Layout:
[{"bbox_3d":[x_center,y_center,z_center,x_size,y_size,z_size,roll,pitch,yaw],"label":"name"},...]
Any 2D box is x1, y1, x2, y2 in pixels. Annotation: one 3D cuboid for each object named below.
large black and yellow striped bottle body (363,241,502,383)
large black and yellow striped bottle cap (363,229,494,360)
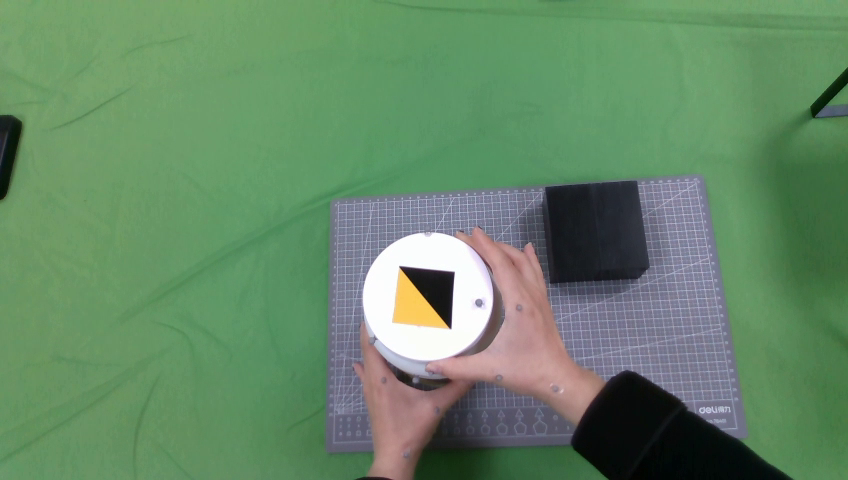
[{"bbox_3d":[0.011,0.071,0.607,0.131,0.185,0.130,-1,73,5],"label":"large black and yellow striped bottle body"},{"bbox_3d":[0.004,0.046,0.527,0.115,0.019,0.114,-2,73,6],"label":"large black and yellow striped bottle cap"}]
